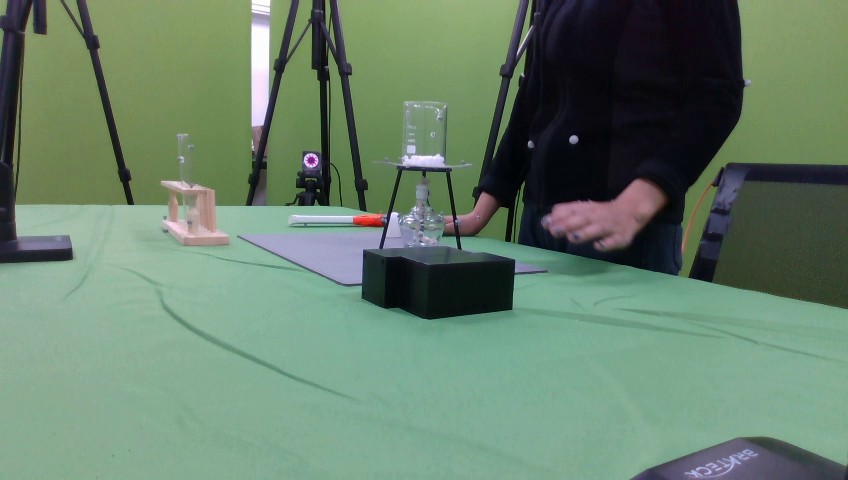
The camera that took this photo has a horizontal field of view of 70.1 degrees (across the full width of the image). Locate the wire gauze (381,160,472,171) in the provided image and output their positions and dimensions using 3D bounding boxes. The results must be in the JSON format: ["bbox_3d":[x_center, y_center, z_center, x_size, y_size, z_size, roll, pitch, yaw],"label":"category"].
[{"bbox_3d":[-0.004,-0.120,0.959,0.122,0.011,0.124,-5,13,-33],"label":"wire gauze"}]

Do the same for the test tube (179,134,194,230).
[{"bbox_3d":[-0.366,-0.089,0.938,0.017,0.150,0.017,-1,9,1],"label":"test tube"}]

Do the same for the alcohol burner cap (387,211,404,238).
[{"bbox_3d":[-0.053,-0.029,1.107,0.034,0.048,0.034,2,9,0],"label":"alcohol burner cap"}]

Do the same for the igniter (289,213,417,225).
[{"bbox_3d":[-0.144,-0.044,1.275,0.278,0.025,0.057,-1,-2,-27],"label":"igniter"}]

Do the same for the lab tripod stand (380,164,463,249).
[{"bbox_3d":[-0.003,-0.055,0.967,0.148,0.131,0.148,2,9,0],"label":"lab tripod stand"}]

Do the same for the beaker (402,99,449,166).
[{"bbox_3d":[0.003,-0.168,0.957,0.073,0.100,0.084,8,11,35],"label":"beaker"}]

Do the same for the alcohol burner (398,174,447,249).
[{"bbox_3d":[-0.002,-0.046,0.973,0.078,0.119,0.078,0,7,0],"label":"alcohol burner"}]

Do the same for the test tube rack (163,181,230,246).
[{"bbox_3d":[-0.387,-0.050,1.015,0.067,0.085,0.241,-2,9,-30],"label":"test tube rack"}]
